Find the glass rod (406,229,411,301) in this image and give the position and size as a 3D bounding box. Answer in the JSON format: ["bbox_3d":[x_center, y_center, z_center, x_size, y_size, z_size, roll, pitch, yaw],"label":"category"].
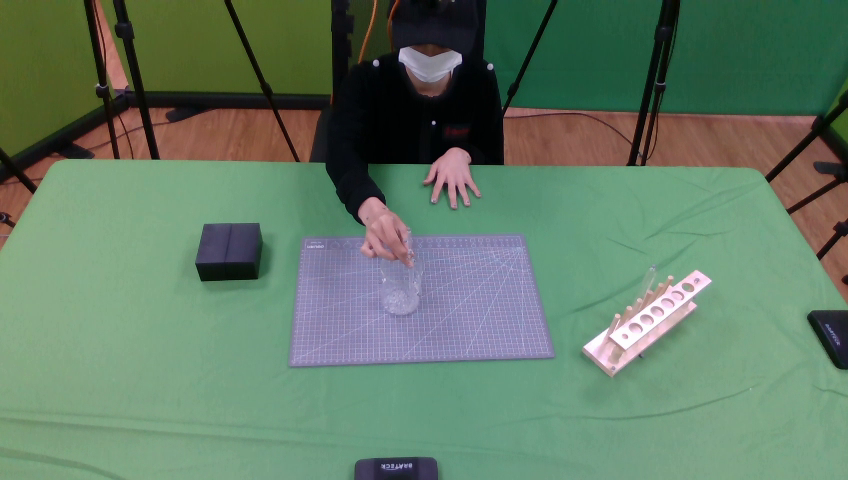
[{"bbox_3d":[-0.027,0.047,1.020,0.008,0.201,0.008,0,52,0],"label":"glass rod"}]

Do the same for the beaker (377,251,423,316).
[{"bbox_3d":[-0.040,0.081,1.060,0.074,0.101,0.083,-32,57,-30],"label":"beaker"}]

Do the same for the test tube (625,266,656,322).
[{"bbox_3d":[0.366,0.096,1.027,0.017,0.151,0.017,1,47,0],"label":"test tube"}]

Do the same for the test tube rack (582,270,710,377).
[{"bbox_3d":[0.389,0.132,1.057,0.242,0.085,0.066,-28,54,-28],"label":"test tube rack"}]
